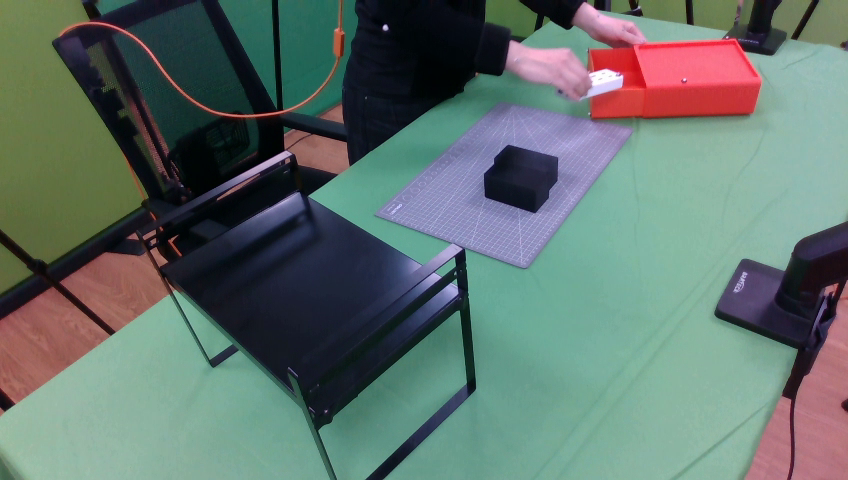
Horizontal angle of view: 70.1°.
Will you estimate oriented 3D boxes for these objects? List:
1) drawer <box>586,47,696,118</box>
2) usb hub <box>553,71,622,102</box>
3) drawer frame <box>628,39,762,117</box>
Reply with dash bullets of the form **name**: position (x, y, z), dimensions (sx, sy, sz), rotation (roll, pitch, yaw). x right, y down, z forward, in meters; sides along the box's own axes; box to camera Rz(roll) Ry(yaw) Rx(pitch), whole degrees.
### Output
- **drawer**: position (0.445, -0.329, 1.251), dimensions (0.211, 0.073, 0.194), rotation (2, 41, 9)
- **usb hub**: position (0.307, -0.287, 1.130), dimensions (0.126, 0.025, 0.049), rotation (-19, 39, -22)
- **drawer frame**: position (0.539, -0.332, 1.234), dimensions (0.213, 0.083, 0.201), rotation (0, 41, 7)
